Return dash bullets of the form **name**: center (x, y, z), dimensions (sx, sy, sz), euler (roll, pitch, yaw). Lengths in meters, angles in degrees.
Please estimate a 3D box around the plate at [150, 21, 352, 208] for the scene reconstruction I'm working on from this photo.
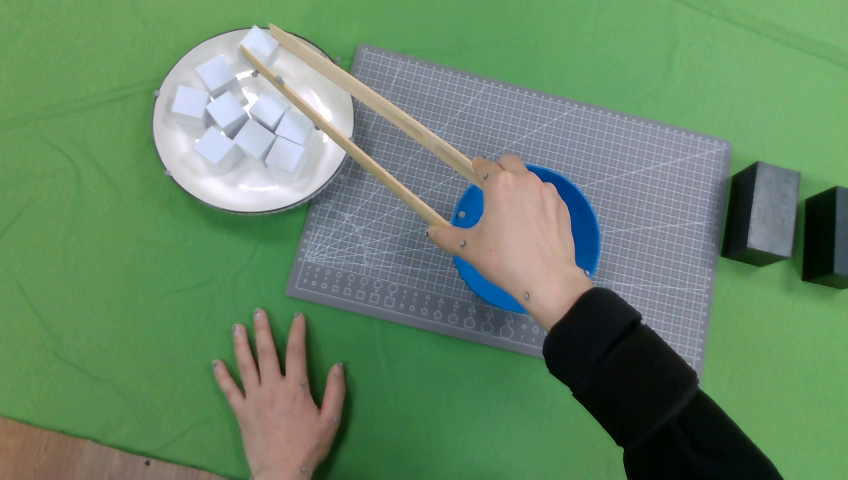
- **plate**: center (-0.180, -0.131, 0.646), dimensions (0.208, 0.039, 0.206), euler (1, 78, -4)

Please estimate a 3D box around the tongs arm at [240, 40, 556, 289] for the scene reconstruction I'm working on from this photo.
- **tongs arm**: center (-0.040, -0.084, 0.542), dimensions (0.051, 0.027, 0.381), euler (-37, 65, -18)

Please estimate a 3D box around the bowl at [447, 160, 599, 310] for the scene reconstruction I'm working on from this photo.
- **bowl**: center (0.093, 0.002, 0.622), dimensions (0.151, 0.077, 0.150), euler (1, 78, -6)

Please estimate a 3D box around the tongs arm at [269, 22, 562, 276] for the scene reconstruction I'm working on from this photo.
- **tongs arm**: center (-0.023, -0.099, 0.550), dimensions (0.028, 0.028, 0.384), euler (-40, 66, -23)
